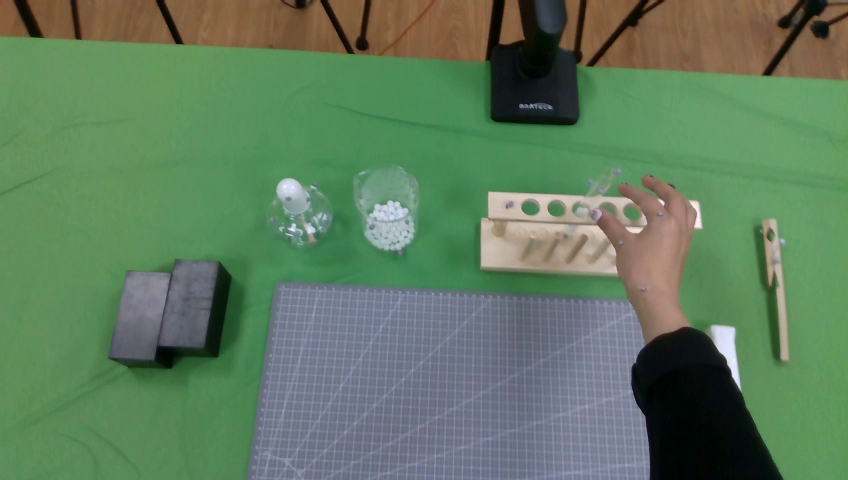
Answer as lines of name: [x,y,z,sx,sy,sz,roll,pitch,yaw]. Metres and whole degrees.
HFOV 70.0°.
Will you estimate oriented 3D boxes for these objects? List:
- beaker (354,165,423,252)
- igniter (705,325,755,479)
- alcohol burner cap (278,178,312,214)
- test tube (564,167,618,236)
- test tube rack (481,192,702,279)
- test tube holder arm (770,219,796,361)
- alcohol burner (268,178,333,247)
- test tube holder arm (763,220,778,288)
beaker: [-0.043,-0.035,0.721,0.083,0.101,0.074,30,70,11]
igniter: [0.340,0.230,0.667,0.057,0.025,0.274,8,68,-9]
alcohol burner cap: [-0.146,-0.051,0.677,0.034,0.048,0.033,0,74,2]
test tube: [0.185,-0.039,0.684,0.017,0.151,0.017,2,67,-4]
test tube rack: [0.194,-0.004,0.723,0.242,0.086,0.066,3,68,-1]
test tube holder arm: [0.437,0.058,0.740,0.013,0.015,0.177,-11,64,33]
alcohol burner: [-0.147,-0.038,0.710,0.078,0.120,0.077,1,66,-1]
test tube holder arm: [0.435,0.018,0.759,0.010,0.015,0.087,-10,65,33]
